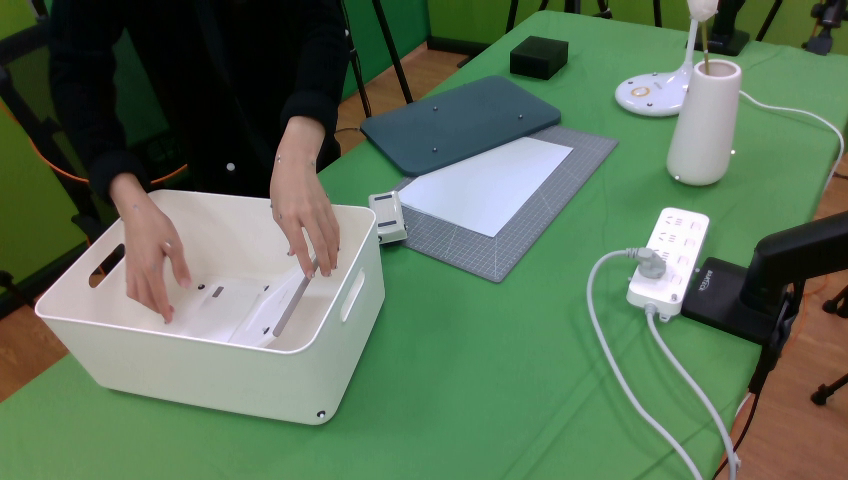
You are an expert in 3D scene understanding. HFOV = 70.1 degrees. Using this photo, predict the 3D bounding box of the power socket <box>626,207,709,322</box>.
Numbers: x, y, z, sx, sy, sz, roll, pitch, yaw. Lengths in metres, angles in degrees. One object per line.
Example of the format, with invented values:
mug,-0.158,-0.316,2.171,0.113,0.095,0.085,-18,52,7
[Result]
power socket,0.360,0.026,0.886,0.072,0.033,0.227,17,46,27

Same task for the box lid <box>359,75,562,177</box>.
box lid,0.074,-0.249,1.267,0.373,0.015,0.261,-23,42,-18

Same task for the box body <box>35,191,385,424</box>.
box body,-0.254,0.082,0.807,0.363,0.161,0.253,5,42,14

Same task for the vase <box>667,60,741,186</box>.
vase,0.463,-0.189,0.994,0.098,0.201,0.097,-4,40,3

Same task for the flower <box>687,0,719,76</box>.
flower,0.436,-0.242,0.934,0.038,0.364,0.043,-24,49,9

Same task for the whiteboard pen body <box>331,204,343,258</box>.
whiteboard pen body,-0.146,-0.016,1.020,0.017,0.017,0.140,-6,40,1

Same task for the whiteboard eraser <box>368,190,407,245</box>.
whiteboard eraser,-0.061,-0.035,1.005,0.056,0.042,0.112,-9,40,-4

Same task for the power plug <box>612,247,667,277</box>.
power plug,0.306,0.031,0.852,0.072,0.053,0.035,21,48,38

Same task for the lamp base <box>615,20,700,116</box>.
lamp base,0.484,-0.364,1.211,0.180,0.181,0.159,-15,41,-14

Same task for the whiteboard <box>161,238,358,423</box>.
whiteboard,-0.242,0.094,0.809,0.304,0.144,0.216,4,45,13

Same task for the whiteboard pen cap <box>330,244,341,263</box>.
whiteboard pen cap,-0.142,0.021,0.975,0.018,0.018,0.033,-7,39,0
